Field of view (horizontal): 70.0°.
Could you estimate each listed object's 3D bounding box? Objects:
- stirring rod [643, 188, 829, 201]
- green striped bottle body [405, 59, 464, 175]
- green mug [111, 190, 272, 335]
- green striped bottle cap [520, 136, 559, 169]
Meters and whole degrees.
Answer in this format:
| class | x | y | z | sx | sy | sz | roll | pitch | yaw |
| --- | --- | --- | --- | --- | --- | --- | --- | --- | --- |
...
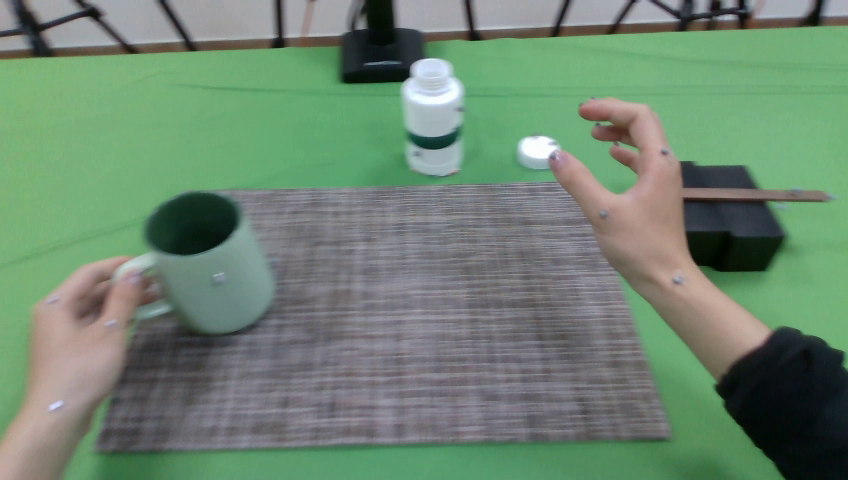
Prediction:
| class | x | y | z | sx | sy | sz | roll | pitch | yaw |
| --- | --- | --- | --- | --- | --- | --- | --- | --- | --- |
| stirring rod | 0.301 | -0.044 | 0.587 | 0.176 | 0.006 | 0.014 | 0 | 52 | 1 |
| green striped bottle body | 0.011 | -0.135 | 0.664 | 0.063 | 0.120 | 0.062 | 0 | 47 | 1 |
| green mug | -0.199 | 0.028 | 0.519 | 0.125 | 0.106 | 0.091 | -27 | 52 | -22 |
| green striped bottle cap | 0.134 | -0.101 | 0.703 | 0.044 | 0.020 | 0.044 | -1 | 43 | 1 |
